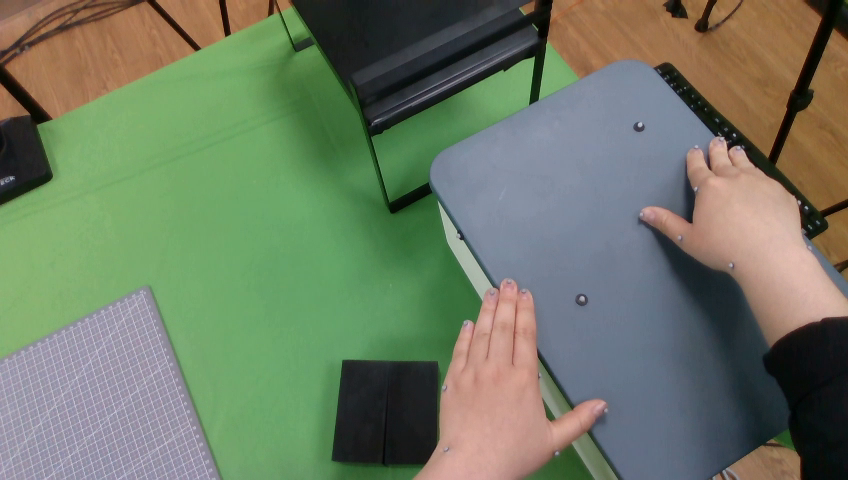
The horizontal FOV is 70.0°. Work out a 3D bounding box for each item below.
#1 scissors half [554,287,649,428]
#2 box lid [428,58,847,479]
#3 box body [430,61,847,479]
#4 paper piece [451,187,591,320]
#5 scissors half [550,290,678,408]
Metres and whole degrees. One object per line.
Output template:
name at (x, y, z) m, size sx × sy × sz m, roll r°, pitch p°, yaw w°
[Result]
scissors half at (0.184, 0.122, 0.655) m, size 0.040 × 0.013 × 0.173 m, roll -21°, pitch 60°, yaw -4°
box lid at (0.193, 0.004, 0.549) m, size 0.263 × 0.015 × 0.368 m, roll -28°, pitch 67°, yaw -8°
box body at (0.200, 0.035, 0.615) m, size 0.254 × 0.161 × 0.361 m, roll -28°, pitch 67°, yaw -8°
paper piece at (0.117, 0.013, 0.725) m, size 0.136 × 0.009 × 0.137 m, roll -16°, pitch 79°, yaw -10°
scissors half at (0.202, 0.112, 0.659) m, size 0.040 × 0.013 × 0.173 m, roll -38°, pitch 63°, yaw -19°
